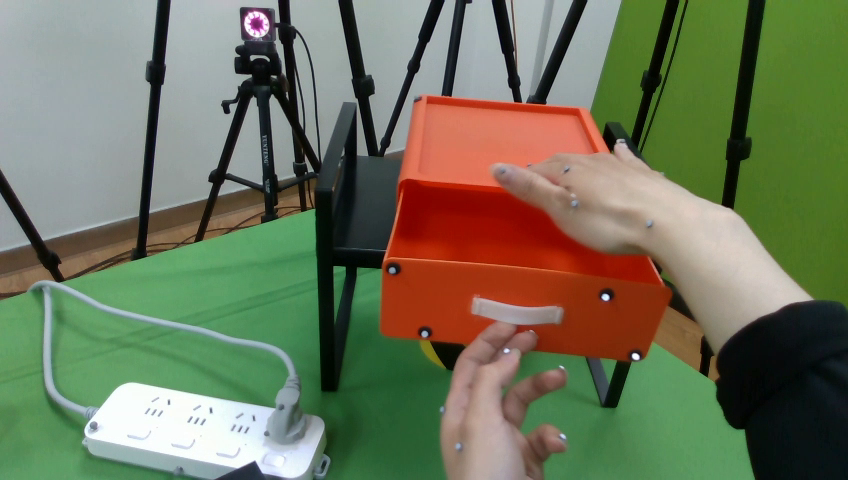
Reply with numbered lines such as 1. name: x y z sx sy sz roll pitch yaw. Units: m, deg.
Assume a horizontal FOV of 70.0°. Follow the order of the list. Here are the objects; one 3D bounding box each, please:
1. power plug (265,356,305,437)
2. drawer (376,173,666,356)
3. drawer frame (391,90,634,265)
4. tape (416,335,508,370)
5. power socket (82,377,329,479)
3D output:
1. power plug: -0.120 0.152 0.563 0.035 0.053 0.072 15 35 15
2. drawer: 0.070 -0.005 0.503 0.194 0.074 0.210 5 32 0
3. drawer frame: 0.075 -0.071 0.600 0.202 0.083 0.211 4 32 -1
4. tape: 0.048 0.092 0.705 0.117 0.053 0.116 4 34 -2
5. power socket: -0.199 0.176 0.559 0.226 0.033 0.071 8 33 6
